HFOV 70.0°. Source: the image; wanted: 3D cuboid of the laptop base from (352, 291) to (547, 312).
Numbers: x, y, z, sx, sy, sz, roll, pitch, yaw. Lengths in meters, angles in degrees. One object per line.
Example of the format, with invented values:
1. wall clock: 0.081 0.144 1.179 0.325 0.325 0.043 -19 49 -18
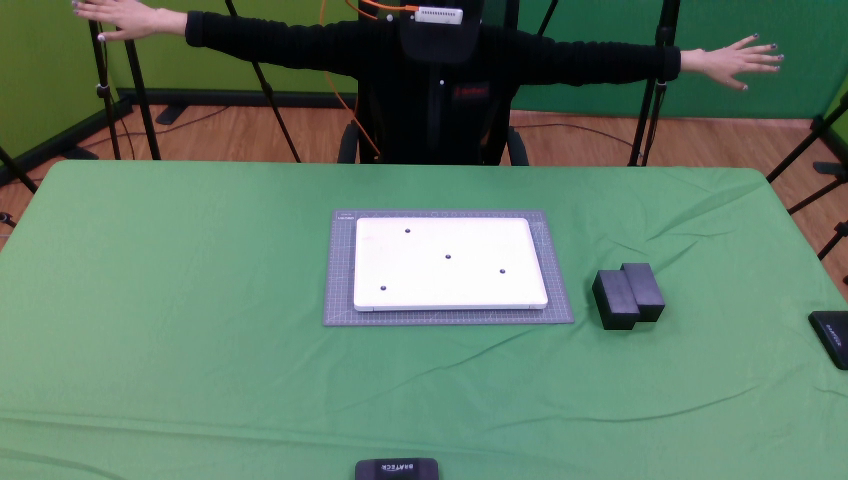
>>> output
1. laptop base: 0.043 0.044 1.162 0.355 0.023 0.234 0 43 -5

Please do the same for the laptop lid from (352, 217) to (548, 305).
1. laptop lid: 0.044 0.034 1.155 0.357 0.013 0.240 1 44 -3
